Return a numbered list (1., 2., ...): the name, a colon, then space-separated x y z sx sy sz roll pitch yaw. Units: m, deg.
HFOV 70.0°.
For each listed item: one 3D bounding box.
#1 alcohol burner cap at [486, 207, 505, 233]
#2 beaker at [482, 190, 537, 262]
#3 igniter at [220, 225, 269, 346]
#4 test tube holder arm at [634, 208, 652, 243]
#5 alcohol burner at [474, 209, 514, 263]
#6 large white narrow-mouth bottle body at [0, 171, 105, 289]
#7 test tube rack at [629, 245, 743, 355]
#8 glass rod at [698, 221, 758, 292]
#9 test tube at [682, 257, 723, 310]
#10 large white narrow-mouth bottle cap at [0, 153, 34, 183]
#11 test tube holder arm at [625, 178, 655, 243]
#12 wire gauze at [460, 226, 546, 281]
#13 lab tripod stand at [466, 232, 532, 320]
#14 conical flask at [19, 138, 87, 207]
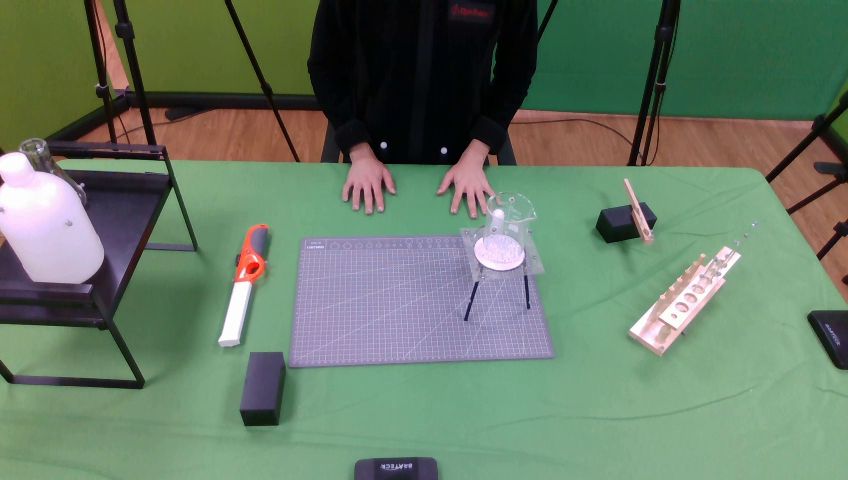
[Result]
1. alcohol burner cap: 0.135 -0.039 1.125 0.034 0.048 0.033 5 41 -4
2. beaker: 0.136 -0.019 0.983 0.084 0.101 0.073 17 47 14
3. igniter: -0.323 0.072 1.100 0.057 0.025 0.274 -6 46 5
4. test tube holder arm: 0.428 -0.030 1.189 0.010 0.015 0.087 2 47 -3
5. alcohol burner: 0.134 -0.013 1.150 0.078 0.120 0.077 0 47 0
6. large white narrow-mouth bottle body: -0.513 -0.029 0.818 0.102 0.195 0.101 2 46 -2
7. test tube rack: 0.474 0.095 1.091 0.242 0.085 0.066 -34 56 -31
8. glass rod: 0.528 0.035 1.059 0.008 0.200 0.008 5 49 -6
9. test tube: 0.475 0.080 1.037 0.017 0.151 0.017 1 50 -1
10. large white narrow-mouth bottle cap: -0.510 -0.090 0.754 0.038 0.024 0.037 2 46 -2
11. test tube holder arm: 0.433 -0.062 1.220 0.013 0.015 0.177 1 47 -3
12. wire gauze: 0.130 0.017 1.016 0.121 0.011 0.124 -4 43 -9
13. lab tripod stand: 0.125 0.059 1.065 0.148 0.132 0.147 1 45 0
14. conical flask: -0.576 -0.097 0.930 0.075 0.122 0.075 2 46 -2
